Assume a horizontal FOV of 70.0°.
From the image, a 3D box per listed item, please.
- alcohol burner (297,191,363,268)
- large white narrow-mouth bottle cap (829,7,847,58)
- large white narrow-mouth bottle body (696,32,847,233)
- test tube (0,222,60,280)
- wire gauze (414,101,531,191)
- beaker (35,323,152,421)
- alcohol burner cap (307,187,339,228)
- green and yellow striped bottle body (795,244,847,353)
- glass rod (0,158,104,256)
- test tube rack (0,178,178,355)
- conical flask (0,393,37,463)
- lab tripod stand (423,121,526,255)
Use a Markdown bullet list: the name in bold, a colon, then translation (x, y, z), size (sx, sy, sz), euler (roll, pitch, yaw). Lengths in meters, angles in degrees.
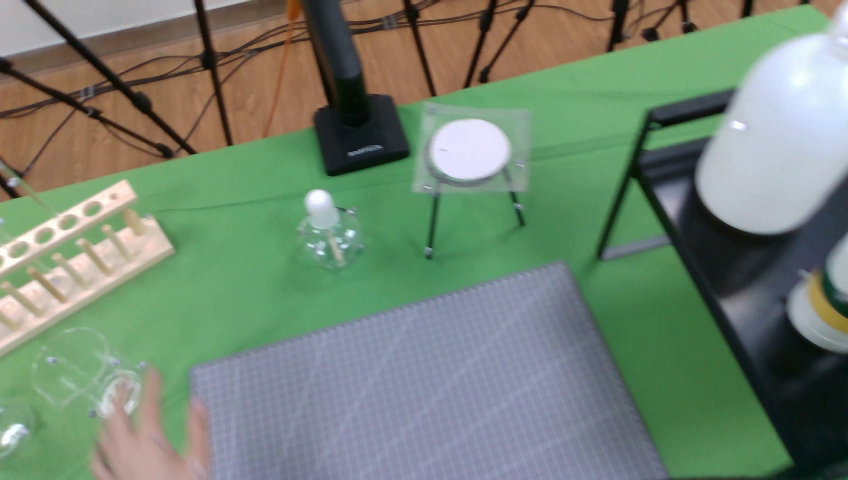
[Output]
- **alcohol burner**: translation (-0.112, -0.019, 0.707), size (0.078, 0.120, 0.077), euler (-1, 56, 2)
- **large white narrow-mouth bottle cap**: translation (0.288, -0.136, 0.394), size (0.038, 0.024, 0.037), euler (-1, 60, 2)
- **large white narrow-mouth bottle body**: translation (0.291, -0.094, 0.469), size (0.102, 0.196, 0.101), euler (-1, 60, 2)
- **test tube**: translation (-0.455, 0.002, 0.672), size (0.017, 0.152, 0.017), euler (-4, 56, 6)
- **wire gauze**: translation (0.055, -0.103, 0.657), size (0.121, 0.011, 0.124), euler (4, 59, 4)
- **beaker**: translation (-0.337, 0.144, 0.628), size (0.074, 0.101, 0.083), euler (-2, 58, 3)
- **alcohol burner cap**: translation (-0.115, -0.039, 0.677), size (0.034, 0.048, 0.033), euler (-1, 57, 2)
- **green and yellow striped bottle body**: translation (0.325, 0.030, 0.434), size (0.063, 0.121, 0.062), euler (-2, 58, 3)
- **glass rod**: translation (-0.420, -0.037, 0.674), size (0.008, 0.202, 0.008), euler (-6, 53, 9)
- **test tube rack**: translation (-0.428, 0.033, 0.710), size (0.242, 0.086, 0.066), euler (-34, 62, -17)
- **conical flask**: translation (-0.457, 0.174, 0.603), size (0.075, 0.123, 0.074), euler (-2, 58, 3)
- **lab tripod stand**: translation (0.052, -0.064, 0.713), size (0.148, 0.132, 0.147), euler (-1, 57, 2)
